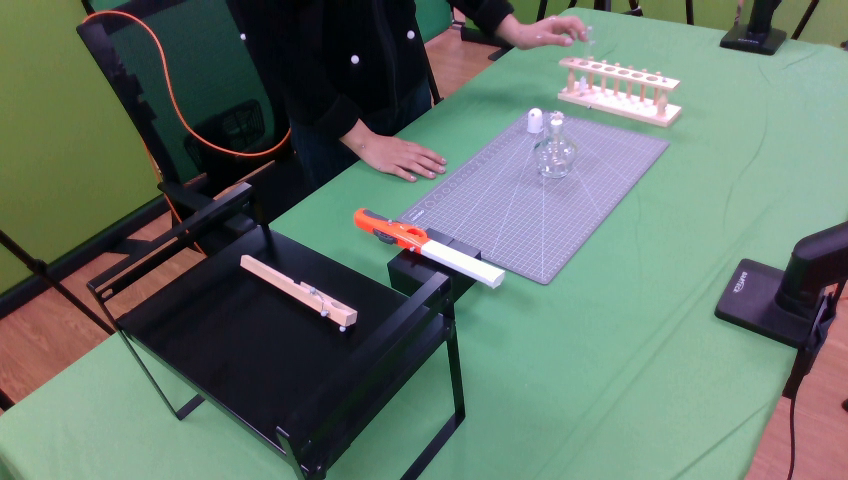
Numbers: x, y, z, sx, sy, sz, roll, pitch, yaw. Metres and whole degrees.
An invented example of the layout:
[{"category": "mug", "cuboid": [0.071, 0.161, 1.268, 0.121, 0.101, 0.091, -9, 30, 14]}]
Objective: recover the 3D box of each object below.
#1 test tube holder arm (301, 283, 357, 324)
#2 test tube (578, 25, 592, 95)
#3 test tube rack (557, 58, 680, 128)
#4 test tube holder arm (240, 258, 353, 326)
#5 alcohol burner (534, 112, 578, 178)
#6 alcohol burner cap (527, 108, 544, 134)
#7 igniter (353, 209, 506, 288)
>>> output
[{"category": "test tube holder arm", "cuboid": [-0.105, 0.066, 0.638, 0.087, 0.015, 0.010, 22, 14, 33]}, {"category": "test tube", "cuboid": [0.326, -0.362, 1.228, 0.017, 0.151, 0.017, -3, 44, 4]}, {"category": "test tube rack", "cuboid": [0.395, -0.309, 1.230, 0.240, 0.085, 0.067, 25, 50, 33]}, {"category": "test tube holder arm", "cuboid": [-0.143, 0.053, 0.658, 0.177, 0.015, 0.013, 21, 14, 32]}, {"category": "alcohol burner", "cuboid": [0.232, -0.170, 1.065, 0.078, 0.119, 0.077, -5, 39, 5]}, {"category": "alcohol burner cap", "cuboid": [0.222, -0.238, 1.203, 0.034, 0.048, 0.033, -5, 41, 5]}, {"category": "igniter", "cuboid": [-0.003, 0.006, 0.892, 0.274, 0.025, 0.057, 24, 37, 31]}]
